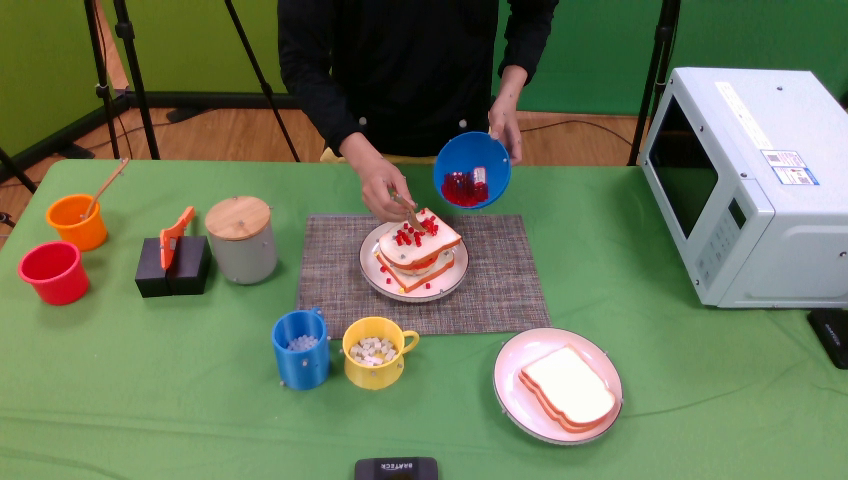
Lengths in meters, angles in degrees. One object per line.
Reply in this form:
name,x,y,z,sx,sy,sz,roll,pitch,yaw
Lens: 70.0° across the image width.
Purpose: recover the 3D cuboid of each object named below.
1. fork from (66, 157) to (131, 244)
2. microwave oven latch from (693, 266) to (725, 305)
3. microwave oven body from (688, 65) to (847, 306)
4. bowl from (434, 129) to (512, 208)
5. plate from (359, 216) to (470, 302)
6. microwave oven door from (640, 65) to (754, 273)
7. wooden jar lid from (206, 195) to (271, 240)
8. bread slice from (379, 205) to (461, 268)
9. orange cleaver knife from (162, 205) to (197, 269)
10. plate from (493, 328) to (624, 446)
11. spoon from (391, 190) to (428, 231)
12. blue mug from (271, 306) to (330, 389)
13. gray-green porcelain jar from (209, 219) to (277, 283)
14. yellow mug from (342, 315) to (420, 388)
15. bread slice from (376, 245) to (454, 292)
fork,-0.608,-0.074,1.132,0.207,0.019,0.028,-52,48,10
microwave oven latch,0.523,0.081,1.115,0.030,0.029,0.078,3,46,0
microwave oven body,0.669,-0.111,1.176,0.326,0.261,0.439,0,46,-3
bowl,0.102,-0.127,1.153,0.151,0.077,0.151,-4,78,21
plate,-0.019,0.038,1.140,0.209,0.038,0.208,2,47,-2
microwave oven door,0.523,-0.147,1.193,0.039,0.245,0.353,0,47,-3
wooden jar lid,-0.319,-0.036,1.046,0.108,0.021,0.107,1,44,0
bread slice,-0.013,-0.002,1.097,0.134,0.018,0.106,-34,50,-22
orange cleaver knife,-0.454,-0.010,1.129,0.012,0.077,0.210,-1,20,-5
plate,0.213,0.236,0.974,0.208,0.039,0.206,2,46,-2
spoon,-0.026,-0.051,0.996,0.041,0.194,0.021,40,84,19
blue mug,-0.188,0.163,0.969,0.082,0.106,0.116,15,47,10
gray-green porcelain jar,-0.323,0.007,1.092,0.106,0.127,0.105,2,46,-2
yellow mug,-0.068,0.177,0.990,0.131,0.064,0.099,-15,50,-19
bread slice,-0.010,0.033,1.149,0.131,0.019,0.104,-27,55,-25
